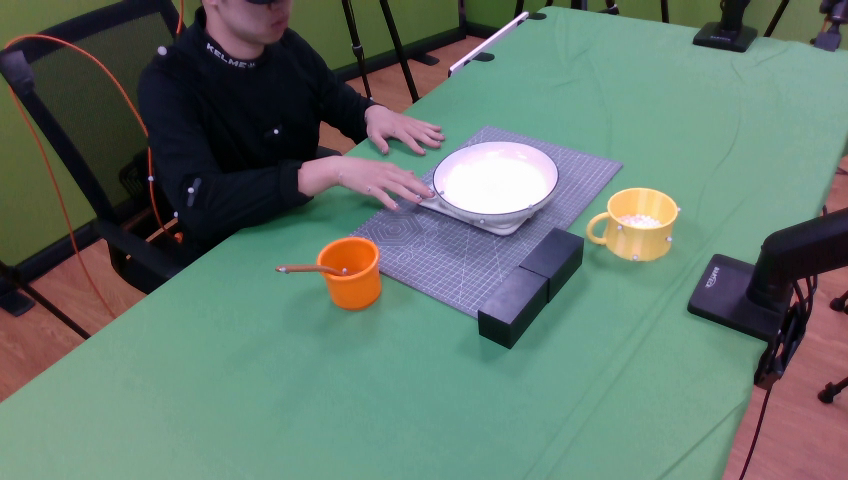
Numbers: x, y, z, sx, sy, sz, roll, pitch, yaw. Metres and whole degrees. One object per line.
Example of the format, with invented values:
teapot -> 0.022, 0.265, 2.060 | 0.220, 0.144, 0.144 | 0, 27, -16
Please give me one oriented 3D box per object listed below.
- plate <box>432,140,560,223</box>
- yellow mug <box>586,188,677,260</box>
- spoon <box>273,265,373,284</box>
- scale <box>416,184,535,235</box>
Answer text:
plate -> 0.118, -0.094, 0.999 | 0.209, 0.038, 0.208 | -5, 41, 4
yellow mug -> 0.311, -0.022, 0.916 | 0.131, 0.064, 0.099 | -8, 40, 0
spoon -> -0.136, 0.045, 0.839 | 0.041, 0.195, 0.021 | 18, 91, 33
scale -> 0.099, -0.080, 1.036 | 0.199, 0.032, 0.149 | 23, 48, 31
